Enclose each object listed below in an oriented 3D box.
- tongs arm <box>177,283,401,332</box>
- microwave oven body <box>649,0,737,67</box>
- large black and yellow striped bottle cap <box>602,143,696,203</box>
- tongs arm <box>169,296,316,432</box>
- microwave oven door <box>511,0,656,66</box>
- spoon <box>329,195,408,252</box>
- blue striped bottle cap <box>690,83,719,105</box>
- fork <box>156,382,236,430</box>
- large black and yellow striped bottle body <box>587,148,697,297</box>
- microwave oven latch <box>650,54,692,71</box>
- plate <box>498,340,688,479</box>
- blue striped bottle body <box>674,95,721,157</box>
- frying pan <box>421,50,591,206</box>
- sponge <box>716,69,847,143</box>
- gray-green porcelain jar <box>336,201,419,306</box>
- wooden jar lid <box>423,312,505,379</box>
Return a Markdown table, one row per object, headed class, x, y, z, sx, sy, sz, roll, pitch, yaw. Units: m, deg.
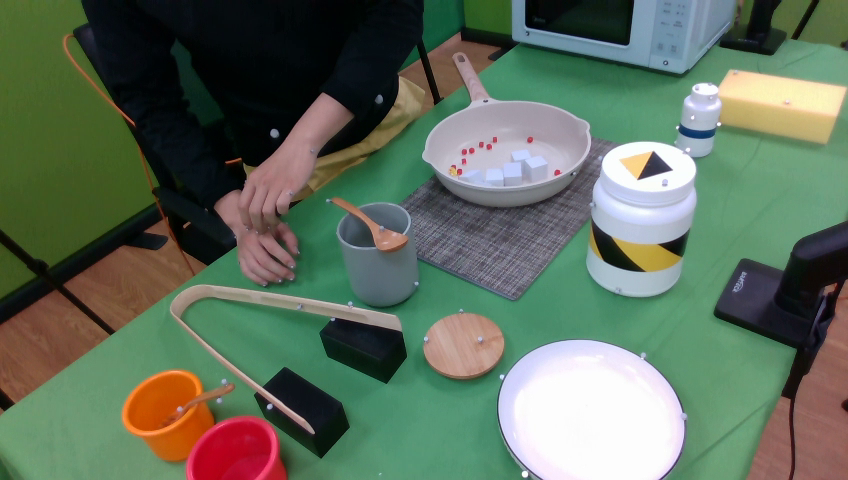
| class | x | y | z | sx | sy | sz | roll | pitch | yaw |
| --- | --- | --- | --- | --- | --- | --- | --- | --- | --- |
| tongs arm | -0.199 | 0.096 | 0.823 | 0.382 | 0.027 | 0.051 | 7 | 45 | 34 |
| microwave oven body | 0.475 | -0.602 | 1.411 | 0.438 | 0.261 | 0.327 | 23 | 50 | 32 |
| large black and yellow striped bottle cap | 0.289 | -0.088 | 0.779 | 0.115 | 0.019 | 0.114 | -5 | 40 | 4 |
| tongs arm | -0.248 | 0.148 | 0.775 | 0.384 | 0.028 | 0.028 | 20 | 57 | 44 |
| microwave oven door | 0.350 | -0.539 | 1.348 | 0.353 | 0.245 | 0.039 | 24 | 50 | 31 |
| spoon | -0.082 | -0.029 | 0.828 | 0.042 | 0.022 | 0.192 | -31 | 43 | -21 |
| blue striped bottle cap | 0.481 | -0.251 | 1.038 | 0.044 | 0.021 | 0.044 | -5 | 39 | 5 |
| fork | -0.262 | 0.189 | 0.690 | 0.018 | 0.206 | 0.028 | 49 | 43 | -7 |
| large black and yellow striped bottle body | 0.298 | -0.026 | 0.835 | 0.131 | 0.185 | 0.130 | -4 | 41 | 4 |
| microwave oven latch | 0.531 | -0.386 | 1.301 | 0.078 | 0.029 | 0.030 | 25 | 50 | 32 |
| plate | 0.189 | 0.206 | 0.692 | 0.207 | 0.039 | 0.206 | -4 | 40 | 4 |
| blue striped bottle body | 0.486 | -0.213 | 1.072 | 0.063 | 0.121 | 0.063 | -4 | 41 | 4 |
| frying pan | 0.127 | -0.233 | 1.155 | 0.307 | 0.103 | 0.484 | -11 | 49 | -5 |
| sponge | 0.663 | -0.256 | 1.142 | 0.205 | 0.061 | 0.118 | 19 | 47 | 28 |
| gray-green porcelain jar | -0.064 | 0.024 | 0.872 | 0.106 | 0.127 | 0.105 | -4 | 41 | 4 |
| wooden jar lid | 0.053 | 0.142 | 0.800 | 0.108 | 0.021 | 0.108 | -5 | 39 | 4 |
